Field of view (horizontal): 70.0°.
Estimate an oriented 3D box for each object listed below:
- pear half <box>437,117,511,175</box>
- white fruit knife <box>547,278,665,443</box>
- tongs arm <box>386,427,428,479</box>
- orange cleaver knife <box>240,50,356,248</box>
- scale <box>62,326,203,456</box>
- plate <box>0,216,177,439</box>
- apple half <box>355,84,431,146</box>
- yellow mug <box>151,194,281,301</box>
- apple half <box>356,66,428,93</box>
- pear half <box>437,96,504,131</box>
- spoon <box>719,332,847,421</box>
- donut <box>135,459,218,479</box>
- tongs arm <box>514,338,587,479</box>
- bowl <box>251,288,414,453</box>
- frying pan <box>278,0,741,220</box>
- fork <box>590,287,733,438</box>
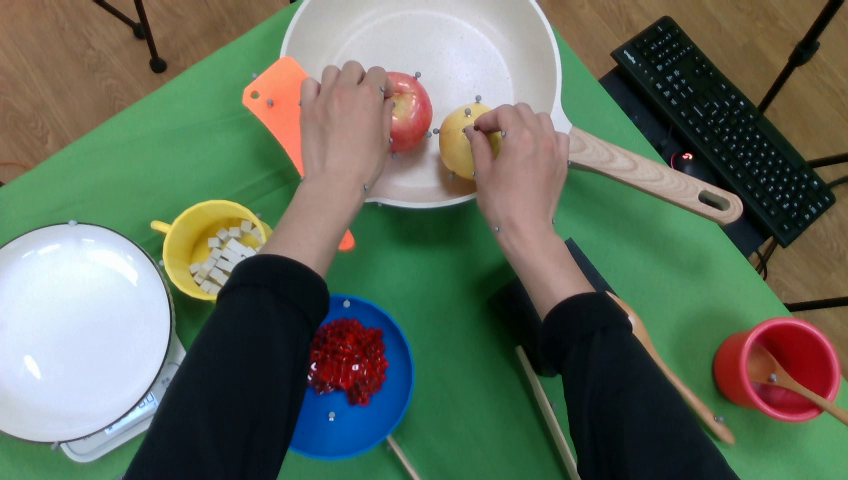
[{"bbox_3d":[0.053,-0.096,0.617,0.076,0.110,0.056,-17,88,7],"label":"pear half"},{"bbox_3d":[0.180,0.121,0.600,0.016,0.027,0.208,-37,97,-7],"label":"white fruit knife"},{"bbox_3d":[0.088,0.321,0.584,0.051,0.026,0.383,-35,84,-10],"label":"tongs arm"},{"bbox_3d":[-0.109,-0.094,0.602,0.077,0.012,0.210,-30,82,-4],"label":"orange cleaver knife"},{"bbox_3d":[-0.332,0.101,0.615,0.148,0.031,0.200,-31,82,-6],"label":"scale"},{"bbox_3d":[-0.340,0.082,0.585,0.209,0.038,0.208,0,79,-2],"label":"plate"},{"bbox_3d":[-0.034,-0.128,0.641,0.081,0.074,0.053,6,79,-11],"label":"apple half"},{"bbox_3d":[-0.217,0.004,0.618,0.131,0.064,0.099,22,80,3],"label":"yellow mug"},{"bbox_3d":[-0.031,-0.165,0.644,0.081,0.081,0.032,8,84,1],"label":"apple half"},{"bbox_3d":[0.046,-0.132,0.628,0.070,0.088,0.031,-15,90,5],"label":"pear half"},{"bbox_3d":[0.365,0.145,0.568,0.041,0.022,0.191,-40,38,-9],"label":"spoon"},{"bbox_3d":[-0.238,0.260,0.578,0.099,0.048,0.098,0,80,0],"label":"donut"},{"bbox_3d":[0.163,0.279,0.595,0.028,0.028,0.386,-19,82,-11],"label":"tongs arm"},{"bbox_3d":[-0.084,0.126,0.594,0.151,0.077,0.151,0,80,-1],"label":"bowl"},{"bbox_3d":[0.086,-0.129,0.631,0.486,0.103,0.306,26,81,12],"label":"frying pan"},{"bbox_3d":[0.242,0.126,0.608,0.028,0.018,0.208,-45,98,-9],"label":"fork"}]
